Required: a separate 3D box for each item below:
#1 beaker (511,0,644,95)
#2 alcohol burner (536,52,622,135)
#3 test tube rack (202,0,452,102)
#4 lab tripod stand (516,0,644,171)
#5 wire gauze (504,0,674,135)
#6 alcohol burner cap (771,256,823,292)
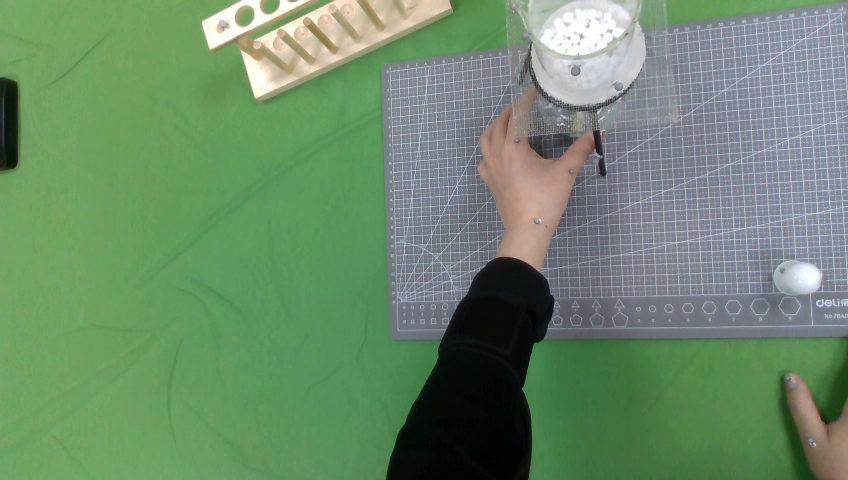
[{"bbox_3d":[0.109,-0.149,0.430,0.083,0.100,0.074,11,91,16],"label":"beaker"},{"bbox_3d":[0.140,-0.138,0.549,0.077,0.119,0.078,-1,86,14],"label":"alcohol burner"},{"bbox_3d":[-0.101,-0.234,0.639,0.242,0.085,0.066,-21,82,14],"label":"test tube rack"},{"bbox_3d":[0.145,-0.142,0.538,0.148,0.132,0.148,-1,88,14],"label":"lab tripod stand"},{"bbox_3d":[0.127,-0.146,0.475,0.125,0.011,0.121,-4,90,13],"label":"wire gauze"},{"bbox_3d":[0.326,0.029,0.527,0.034,0.048,0.034,-1,86,15],"label":"alcohol burner cap"}]
